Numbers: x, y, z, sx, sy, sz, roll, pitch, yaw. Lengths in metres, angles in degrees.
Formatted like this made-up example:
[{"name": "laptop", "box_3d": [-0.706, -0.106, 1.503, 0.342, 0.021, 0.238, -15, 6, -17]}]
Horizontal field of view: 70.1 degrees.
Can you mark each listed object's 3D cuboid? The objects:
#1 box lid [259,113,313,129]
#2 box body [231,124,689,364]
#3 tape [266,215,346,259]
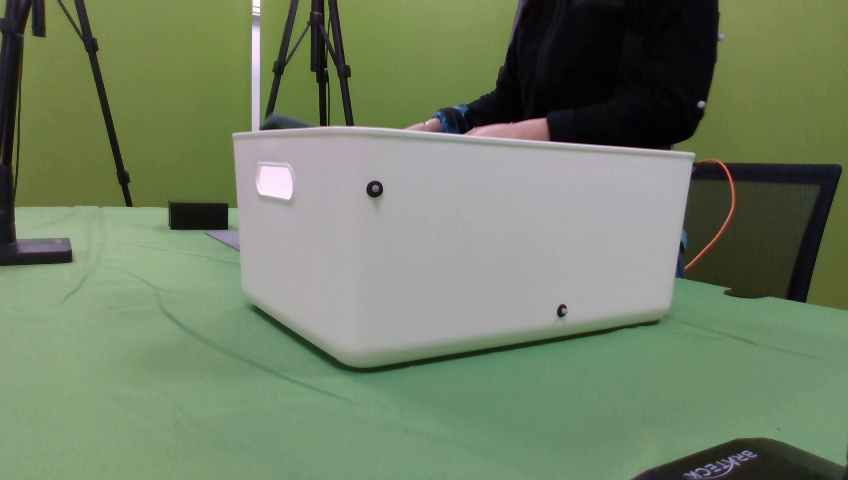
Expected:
[{"name": "box lid", "box_3d": [-0.084, -0.138, 0.998, 0.373, 0.015, 0.262, 14, 1, -20]}, {"name": "box body", "box_3d": [0.031, -0.013, 0.563, 0.366, 0.160, 0.253, -3, 8, -33]}, {"name": "tape", "box_3d": [-0.168, -0.006, 0.872, 0.117, 0.052, 0.117, 3, 7, 0]}]
